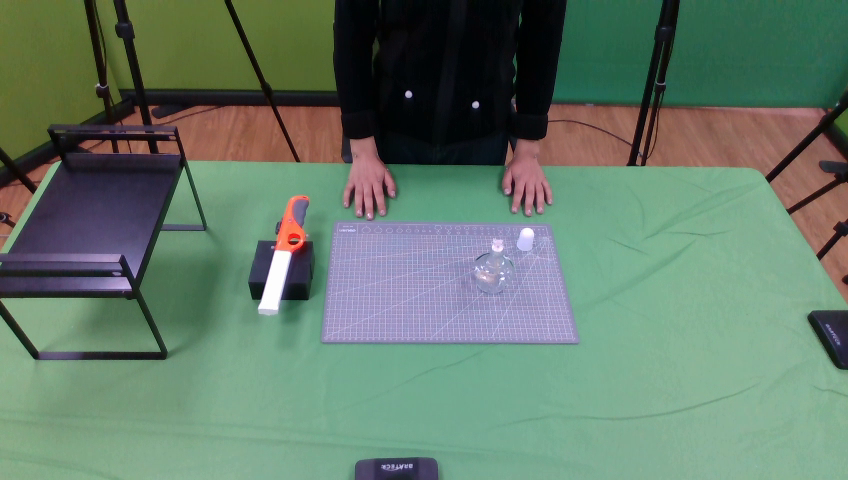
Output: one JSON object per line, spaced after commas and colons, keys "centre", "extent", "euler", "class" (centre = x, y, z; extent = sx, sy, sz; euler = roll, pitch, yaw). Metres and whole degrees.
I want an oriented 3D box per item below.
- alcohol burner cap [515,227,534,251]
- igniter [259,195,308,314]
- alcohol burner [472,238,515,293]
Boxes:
{"centre": [0.202, -0.005, 1.201], "extent": [0.034, 0.048, 0.033], "euler": [3, 46, -3], "class": "alcohol burner cap"}
{"centre": [-0.252, 0.016, 1.094], "extent": [0.057, 0.025, 0.275], "euler": [6, 48, -3], "class": "igniter"}
{"centre": [0.128, 0.041, 1.101], "extent": [0.078, 0.120, 0.077], "euler": [1, 47, -1], "class": "alcohol burner"}
